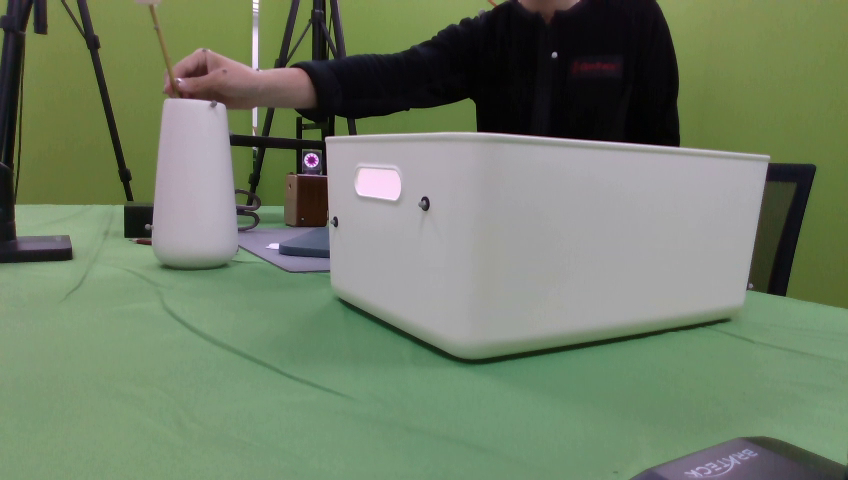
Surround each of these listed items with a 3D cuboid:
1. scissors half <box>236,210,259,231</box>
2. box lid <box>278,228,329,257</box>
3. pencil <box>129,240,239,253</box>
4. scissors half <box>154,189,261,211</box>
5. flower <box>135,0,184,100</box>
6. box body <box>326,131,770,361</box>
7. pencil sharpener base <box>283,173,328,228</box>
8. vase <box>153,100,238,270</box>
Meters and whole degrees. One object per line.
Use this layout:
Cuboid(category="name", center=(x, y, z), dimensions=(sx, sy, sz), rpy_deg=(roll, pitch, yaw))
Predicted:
Cuboid(category="scissors half", center=(-0.375, -0.046, 1.051), dimensions=(0.176, 0.040, 0.013), rpy_deg=(13, -2, -28))
Cuboid(category="box lid", center=(-0.019, 0.012, 0.950), dimensions=(0.371, 0.015, 0.263), rpy_deg=(5, 7, 4))
Cuboid(category="pencil", center=(-0.350, 0.008, 0.874), dimensions=(0.193, 0.012, 0.012), rpy_deg=(3, 7, 19))
Cuboid(category="scissors half", center=(-0.373, -0.066, 1.049), dimensions=(0.176, 0.040, 0.012), rpy_deg=(-6, 12, -27))
Cuboid(category="flower", center=(-0.280, -0.150, 0.711), dimensions=(0.038, 0.362, 0.044), rpy_deg=(-13, 23, -6))
Cuboid(category="box body", center=(0.112, -0.010, 0.583), dimensions=(0.366, 0.160, 0.253), rpy_deg=(-2, 9, -33))
Cuboid(category="pencil sharpener base", center=(-0.239, -0.081, 1.231), dimensions=(0.077, 0.107, 0.061), rpy_deg=(-2, 8, -36))
Cuboid(category="vase", center=(-0.278, -0.066, 0.736), dimensions=(0.098, 0.200, 0.098), rpy_deg=(2, 9, 0))
